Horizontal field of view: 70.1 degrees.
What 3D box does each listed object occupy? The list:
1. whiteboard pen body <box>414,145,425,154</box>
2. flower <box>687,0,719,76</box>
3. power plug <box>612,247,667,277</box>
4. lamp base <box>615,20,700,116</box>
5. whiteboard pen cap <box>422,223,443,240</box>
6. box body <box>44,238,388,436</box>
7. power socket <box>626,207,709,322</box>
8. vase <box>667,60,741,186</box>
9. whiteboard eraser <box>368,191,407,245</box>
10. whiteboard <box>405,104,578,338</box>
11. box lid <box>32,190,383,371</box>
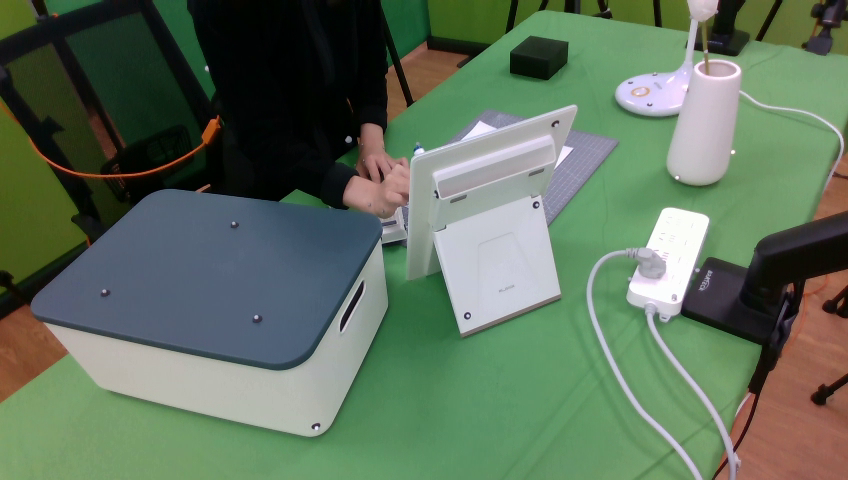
[{"bbox_3d":[0.021,-0.077,0.870,0.017,0.017,0.140,-22,73,-17],"label":"whiteboard pen body"},{"bbox_3d":[0.436,-0.242,0.934,0.038,0.364,0.043,-24,49,9],"label":"flower"},{"bbox_3d":[0.306,0.031,0.852,0.072,0.053,0.035,21,48,37],"label":"power plug"},{"bbox_3d":[0.484,-0.364,1.211,0.180,0.181,0.159,-15,41,-14],"label":"lamp base"},{"bbox_3d":[0.013,-0.013,0.988,0.033,0.018,0.018,-31,46,-22],"label":"whiteboard pen cap"},{"bbox_3d":[-0.251,0.088,0.799,0.362,0.161,0.254,7,42,16],"label":"box body"},{"bbox_3d":[0.360,0.026,0.886,0.072,0.033,0.227,17,46,27],"label":"power socket"},{"bbox_3d":[0.463,-0.189,0.994,0.098,0.201,0.097,-4,40,4],"label":"vase"},{"bbox_3d":[-0.061,-0.035,1.006,0.056,0.042,0.112,-9,40,-3],"label":"whiteboard eraser"},{"bbox_3d":[0.102,0.003,0.787,0.218,0.306,0.143,-19,62,-14],"label":"whiteboard"},{"bbox_3d":[-0.257,0.032,0.750,0.370,0.015,0.263,7,41,16],"label":"box lid"}]
